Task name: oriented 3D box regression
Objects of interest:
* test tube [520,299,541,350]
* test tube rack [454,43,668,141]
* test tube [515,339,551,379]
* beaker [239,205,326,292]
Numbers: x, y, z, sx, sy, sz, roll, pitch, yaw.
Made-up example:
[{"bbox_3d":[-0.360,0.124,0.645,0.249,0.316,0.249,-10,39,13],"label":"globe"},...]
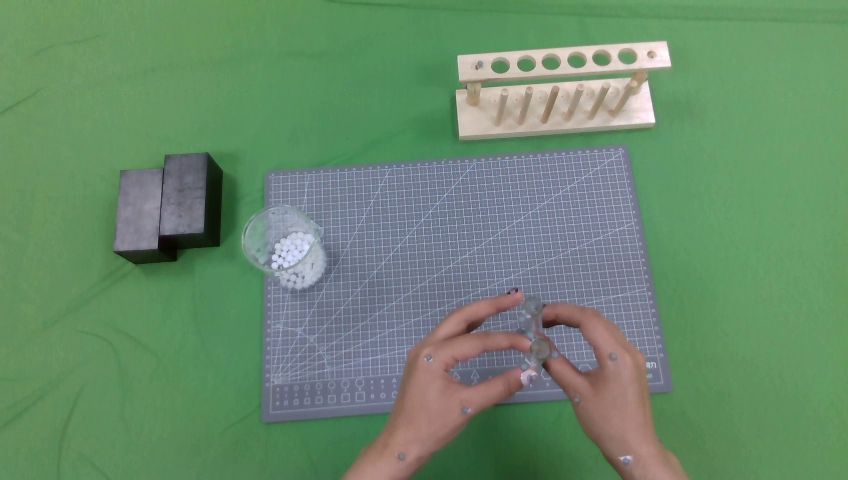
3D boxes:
[{"bbox_3d":[0.094,0.077,0.527,0.017,0.151,0.017,-3,70,10],"label":"test tube"},{"bbox_3d":[0.160,-0.176,0.732,0.242,0.085,0.066,-4,72,0],"label":"test tube rack"},{"bbox_3d":[0.086,0.099,0.493,0.017,0.151,0.017,-1,72,4],"label":"test tube"},{"bbox_3d":[-0.148,0.013,0.668,0.084,0.101,0.073,-12,73,-3],"label":"beaker"}]
